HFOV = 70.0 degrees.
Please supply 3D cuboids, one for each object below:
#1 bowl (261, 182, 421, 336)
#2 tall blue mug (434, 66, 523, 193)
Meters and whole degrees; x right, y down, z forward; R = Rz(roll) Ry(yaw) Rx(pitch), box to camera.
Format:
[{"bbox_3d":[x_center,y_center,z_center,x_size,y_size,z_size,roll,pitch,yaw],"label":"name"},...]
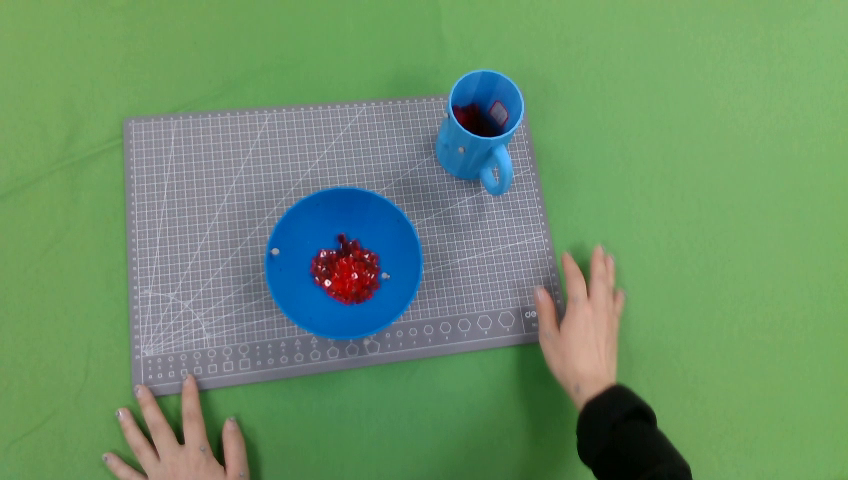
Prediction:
[{"bbox_3d":[-0.081,0.025,0.609,0.152,0.077,0.150,2,76,-7],"label":"bowl"},{"bbox_3d":[0.066,-0.113,0.645,0.107,0.108,0.077,41,74,5],"label":"tall blue mug"}]
